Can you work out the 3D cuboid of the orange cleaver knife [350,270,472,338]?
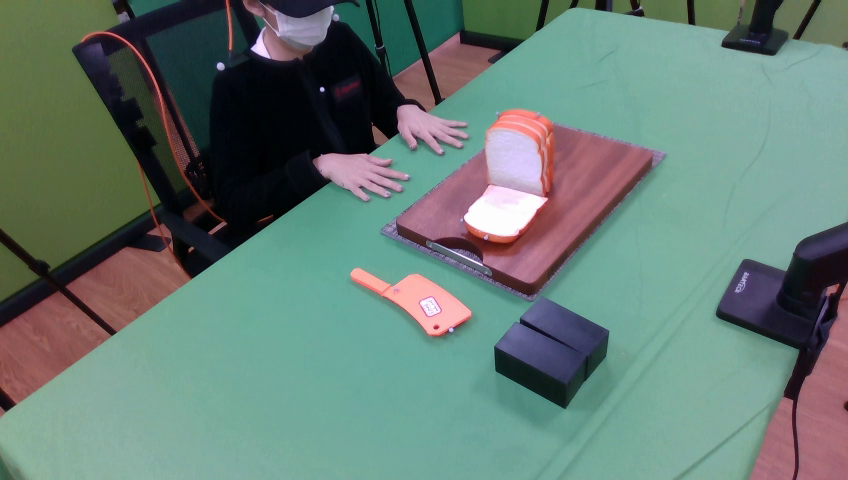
[{"bbox_3d":[-0.023,0.080,0.889,0.209,0.012,0.077,27,53,37],"label":"orange cleaver knife"}]

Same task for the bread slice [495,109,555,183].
[{"bbox_3d":[0.168,-0.155,1.000,0.106,0.135,0.018,18,53,19],"label":"bread slice"}]
